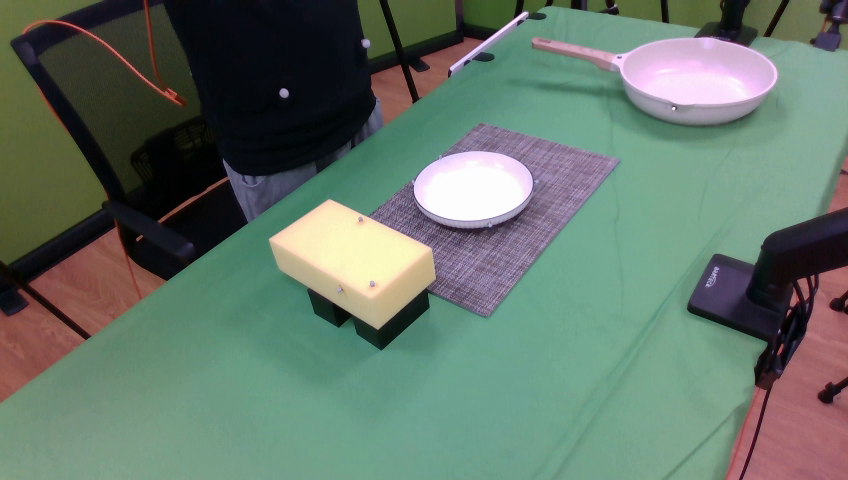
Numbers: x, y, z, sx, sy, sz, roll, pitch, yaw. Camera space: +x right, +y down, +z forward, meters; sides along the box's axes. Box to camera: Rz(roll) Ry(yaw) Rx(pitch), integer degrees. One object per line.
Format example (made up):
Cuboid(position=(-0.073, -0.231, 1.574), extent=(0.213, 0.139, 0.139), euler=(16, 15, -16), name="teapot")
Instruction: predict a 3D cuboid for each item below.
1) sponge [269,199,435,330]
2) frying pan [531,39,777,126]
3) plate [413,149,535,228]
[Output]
Cuboid(position=(-0.102, 0.027, 0.846), extent=(0.205, 0.061, 0.118), euler=(25, 50, 32), name="sponge")
Cuboid(position=(0.452, -0.354, 1.254), extent=(0.485, 0.103, 0.307), euler=(22, 47, 19), name="frying pan")
Cuboid(position=(0.086, -0.085, 1.038), extent=(0.207, 0.039, 0.206), euler=(-4, 40, 4), name="plate")
